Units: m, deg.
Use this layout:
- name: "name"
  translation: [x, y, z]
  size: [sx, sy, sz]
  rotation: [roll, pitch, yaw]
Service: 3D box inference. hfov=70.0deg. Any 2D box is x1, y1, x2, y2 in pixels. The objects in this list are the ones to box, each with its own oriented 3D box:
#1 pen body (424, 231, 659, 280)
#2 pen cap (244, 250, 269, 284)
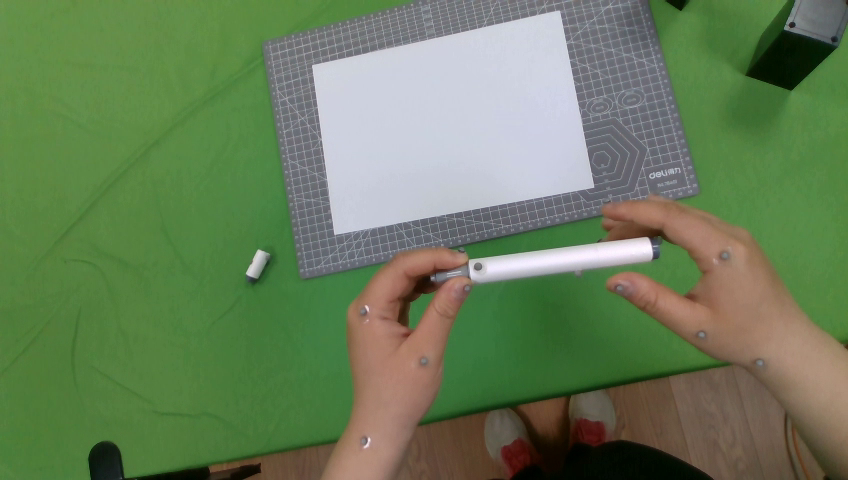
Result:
- name: "pen body"
  translation: [0.071, 0.012, 0.376]
  size: [0.144, 0.017, 0.017]
  rotation: [-8, 81, 5]
- name: "pen cap"
  translation: [-0.195, 0.032, 0.702]
  size: [0.017, 0.017, 0.038]
  rotation: [26, 86, 12]
